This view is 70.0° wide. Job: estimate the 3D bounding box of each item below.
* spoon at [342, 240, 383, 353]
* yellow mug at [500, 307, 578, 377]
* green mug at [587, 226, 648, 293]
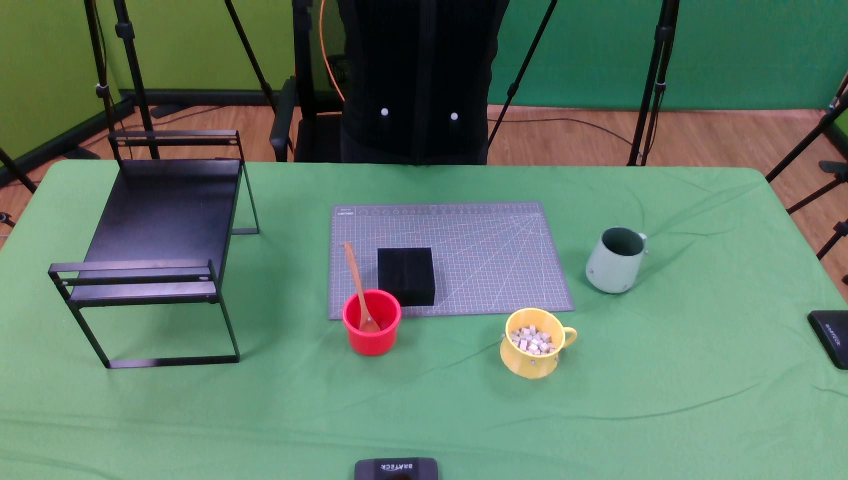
[{"bbox_3d":[-0.106,0.094,1.014,0.041,0.021,0.193,-14,94,-10],"label":"spoon"},{"bbox_3d":[0.197,0.169,1.018,0.131,0.064,0.099,-7,48,-12],"label":"yellow mug"},{"bbox_3d":[0.371,0.030,1.136,0.125,0.105,0.092,-27,53,-27],"label":"green mug"}]
